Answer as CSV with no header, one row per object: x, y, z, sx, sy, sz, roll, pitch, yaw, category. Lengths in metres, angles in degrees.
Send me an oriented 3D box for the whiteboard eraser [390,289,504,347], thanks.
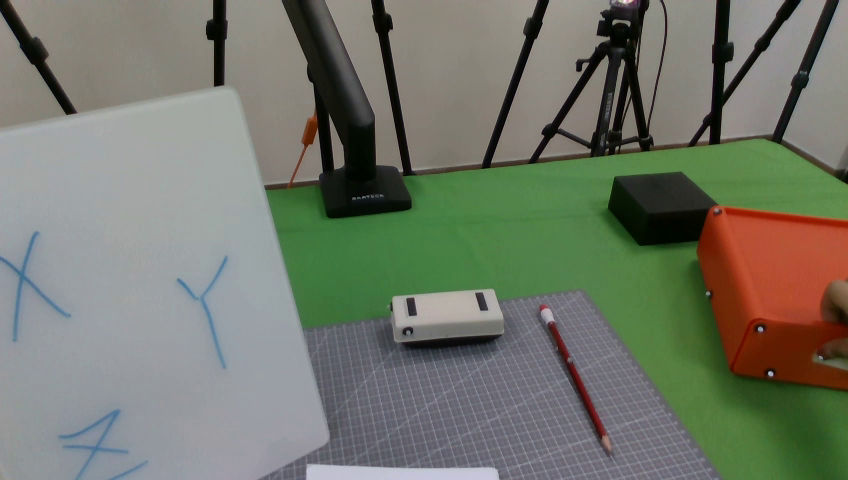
0.023,0.081,0.625,0.113,0.042,0.055,-3,35,-7,whiteboard eraser

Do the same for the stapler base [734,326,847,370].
0.385,0.104,0.609,0.130,0.024,0.041,8,33,13,stapler base

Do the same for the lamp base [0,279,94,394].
-0.427,0.029,0.563,0.178,0.182,0.160,15,36,24,lamp base

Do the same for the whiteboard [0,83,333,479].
-0.228,0.053,0.475,0.218,0.307,0.142,-20,20,-27,whiteboard

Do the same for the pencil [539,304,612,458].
0.145,0.129,0.590,0.012,0.012,0.192,-4,36,-8,pencil

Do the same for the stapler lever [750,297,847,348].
0.386,0.083,0.597,0.117,0.040,0.026,7,33,14,stapler lever

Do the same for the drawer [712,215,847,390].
0.415,0.061,0.642,0.194,0.074,0.210,7,34,9,drawer

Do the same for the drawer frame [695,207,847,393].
0.414,0.058,0.644,0.201,0.083,0.212,6,34,8,drawer frame
